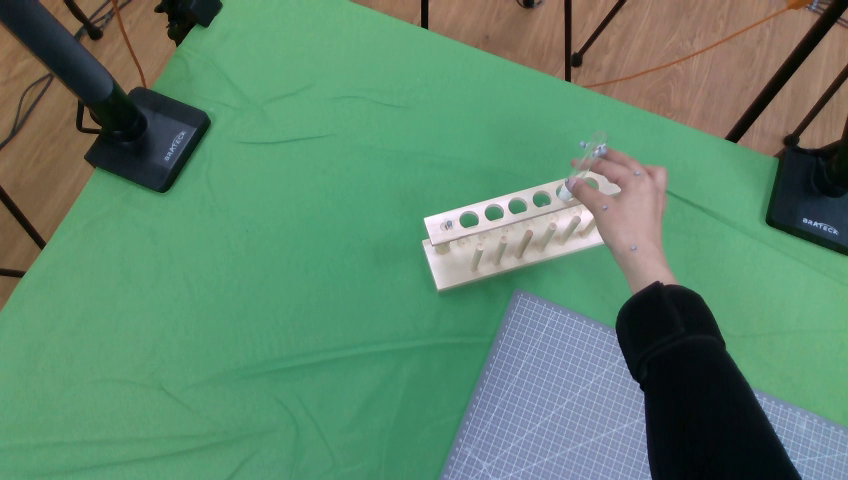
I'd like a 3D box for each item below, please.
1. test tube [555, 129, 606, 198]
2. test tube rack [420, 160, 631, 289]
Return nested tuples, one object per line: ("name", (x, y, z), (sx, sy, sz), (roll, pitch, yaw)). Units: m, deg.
("test tube", (0.161, -0.072, 0.640), (0.017, 0.151, 0.017), (1, 69, -3))
("test tube rack", (0.121, -0.017, 0.716), (0.242, 0.085, 0.066), (-16, 71, -7))
